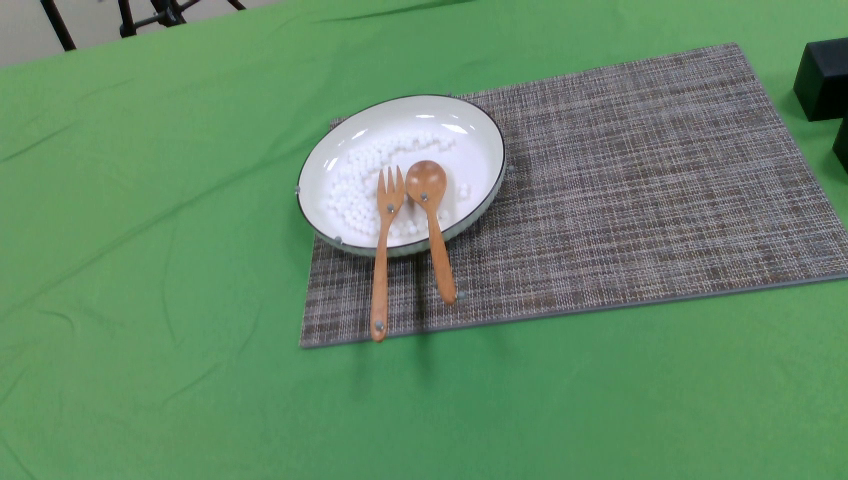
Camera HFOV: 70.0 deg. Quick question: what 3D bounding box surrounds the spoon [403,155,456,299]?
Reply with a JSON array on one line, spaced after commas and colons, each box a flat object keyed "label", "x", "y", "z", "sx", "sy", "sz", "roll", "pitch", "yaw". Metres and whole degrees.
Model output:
[{"label": "spoon", "x": 0.006, "y": -0.019, "z": 0.526, "sx": 0.041, "sy": 0.022, "sz": 0.191, "roll": -11, "pitch": 37, "yaw": 2}]

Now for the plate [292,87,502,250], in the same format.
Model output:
[{"label": "plate", "x": -0.025, "y": -0.069, "z": 0.596, "sx": 0.207, "sy": 0.039, "sz": 0.205, "roll": -8, "pitch": 51, "yaw": 10}]

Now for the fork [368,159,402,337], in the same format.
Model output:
[{"label": "fork", "x": -0.036, "y": -0.002, "z": 0.526, "sx": 0.028, "sy": 0.019, "sz": 0.205, "roll": -7, "pitch": 43, "yaw": 7}]
